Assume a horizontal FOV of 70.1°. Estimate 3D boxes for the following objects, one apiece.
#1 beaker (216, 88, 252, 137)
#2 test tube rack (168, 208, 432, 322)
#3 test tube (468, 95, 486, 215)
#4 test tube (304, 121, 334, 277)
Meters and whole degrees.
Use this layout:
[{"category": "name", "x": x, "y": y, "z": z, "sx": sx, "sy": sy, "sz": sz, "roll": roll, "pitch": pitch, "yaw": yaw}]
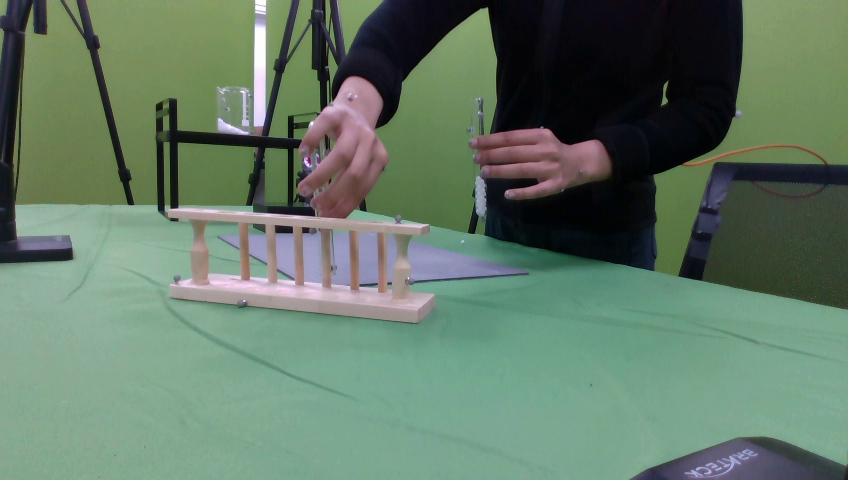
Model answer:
[{"category": "beaker", "x": -0.412, "y": -0.276, "z": 1.309, "sx": 0.074, "sy": 0.100, "sz": 0.084, "roll": 4, "pitch": 8, "yaw": 16}, {"category": "test tube rack", "x": -0.116, "y": 0.018, "z": 0.574, "sx": 0.242, "sy": 0.085, "sz": 0.067, "roll": 4, "pitch": 7, "yaw": 14}, {"category": "test tube", "x": 0.067, "y": -0.104, "z": 0.757, "sx": 0.017, "sy": 0.150, "sz": 0.017, "roll": -4, "pitch": 15, "yaw": 1}, {"category": "test tube", "x": -0.101, "y": -0.038, "z": 0.582, "sx": 0.017, "sy": 0.150, "sz": 0.017, "roll": -4, "pitch": 7, "yaw": 1}]
